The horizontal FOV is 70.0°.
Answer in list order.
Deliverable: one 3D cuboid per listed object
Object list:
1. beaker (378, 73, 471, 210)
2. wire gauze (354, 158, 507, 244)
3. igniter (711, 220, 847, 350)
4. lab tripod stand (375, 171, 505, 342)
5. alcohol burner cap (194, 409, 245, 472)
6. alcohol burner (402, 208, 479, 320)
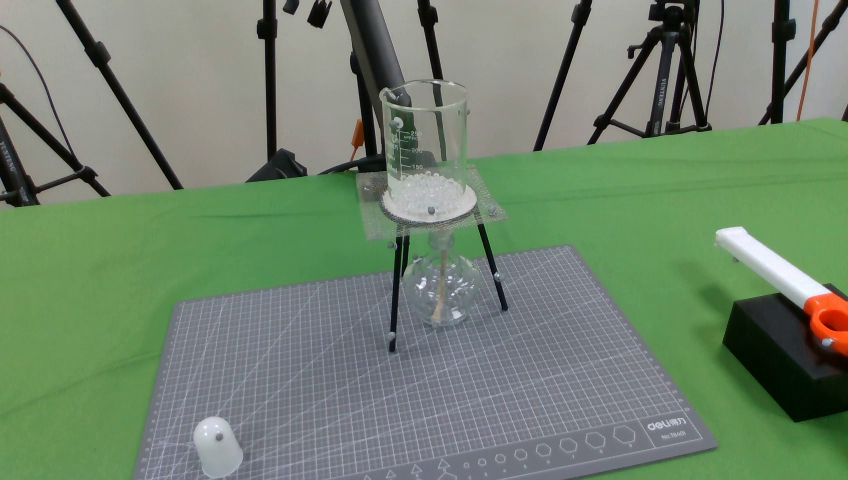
[{"bbox_3d":[-0.002,-0.084,0.522,0.074,0.101,0.083,-29,42,-36],"label":"beaker"},{"bbox_3d":[0.001,-0.043,0.548,0.121,0.011,0.123,-8,36,-7],"label":"wire gauze"},{"bbox_3d":[0.340,0.054,0.514,0.057,0.025,0.273,-9,31,-9],"label":"igniter"},{"bbox_3d":[0.008,0.009,0.588,0.148,0.132,0.147,-1,32,1],"label":"lab tripod stand"},{"bbox_3d":[-0.160,0.151,0.468,0.034,0.048,0.033,-1,34,1],"label":"alcohol burner cap"},{"bbox_3d":[0.016,0.019,0.590,0.078,0.120,0.077,-1,35,1],"label":"alcohol burner"}]
